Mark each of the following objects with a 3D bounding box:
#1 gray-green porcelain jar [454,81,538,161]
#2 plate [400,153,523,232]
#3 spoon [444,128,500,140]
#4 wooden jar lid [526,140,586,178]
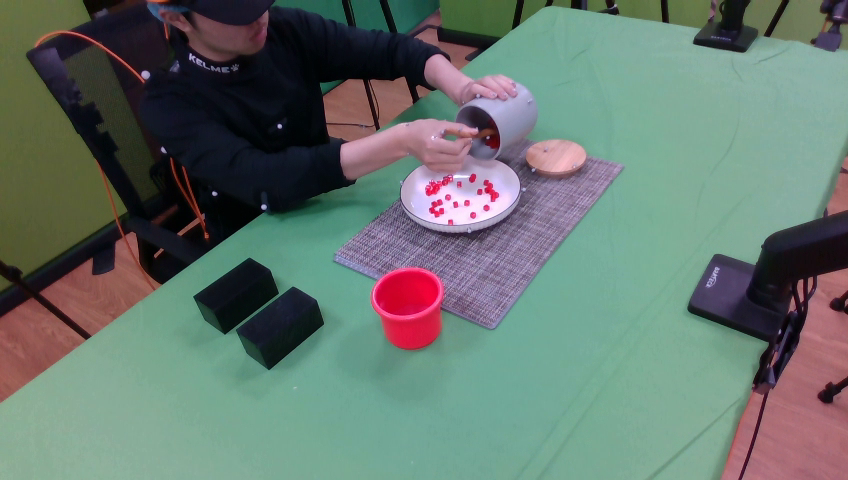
[{"bbox_3d":[0.131,-0.214,1.066,0.105,0.106,0.127,26,47,33],"label":"gray-green porcelain jar"},{"bbox_3d":[0.065,-0.078,1.034,0.207,0.039,0.206,-4,41,4],"label":"plate"},{"bbox_3d":[0.087,-0.178,1.019,0.041,0.021,0.195,8,13,31],"label":"spoon"},{"bbox_3d":[0.240,-0.147,1.103,0.108,0.021,0.108,-4,42,4],"label":"wooden jar lid"}]
